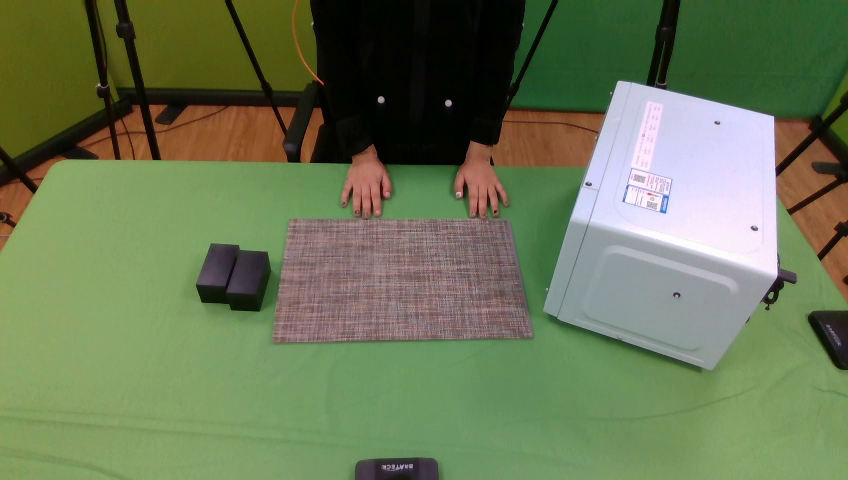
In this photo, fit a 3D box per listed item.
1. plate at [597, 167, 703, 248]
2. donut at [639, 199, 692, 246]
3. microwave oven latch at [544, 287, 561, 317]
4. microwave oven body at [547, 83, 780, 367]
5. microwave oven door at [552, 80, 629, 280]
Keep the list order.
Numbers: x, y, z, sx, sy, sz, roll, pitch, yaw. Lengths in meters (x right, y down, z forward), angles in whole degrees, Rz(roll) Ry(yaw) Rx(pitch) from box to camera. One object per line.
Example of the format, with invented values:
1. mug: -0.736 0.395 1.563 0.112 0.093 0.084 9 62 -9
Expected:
1. plate: 0.432 -0.060 1.176 0.209 0.038 0.208 7 47 -8
2. donut: 0.461 -0.034 1.159 0.099 0.048 0.098 1 62 -2
3. microwave oven latch: 0.237 0.098 1.087 0.030 0.029 0.079 17 47 13
4. microwave oven body: 0.445 -0.041 1.101 0.325 0.261 0.440 17 47 13
5. microwave oven door: 0.324 -0.116 1.156 0.039 0.245 0.354 18 48 13
